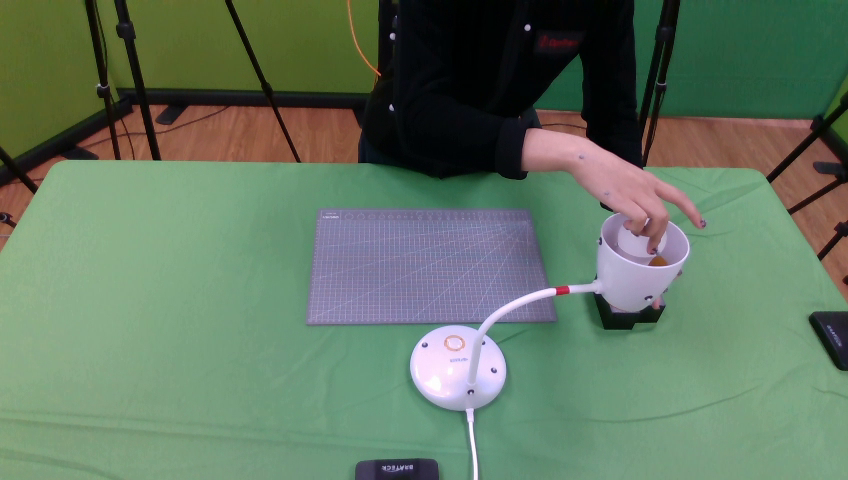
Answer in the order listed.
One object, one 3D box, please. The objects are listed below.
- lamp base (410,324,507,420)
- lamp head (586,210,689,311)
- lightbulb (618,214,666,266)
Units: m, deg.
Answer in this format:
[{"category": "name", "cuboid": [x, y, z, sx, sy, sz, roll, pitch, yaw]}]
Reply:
[{"category": "lamp base", "cuboid": [0.064, 0.164, 0.937, 0.161, 0.181, 0.178, -10, 51, -13]}, {"category": "lamp head", "cuboid": [0.280, 0.039, 0.819, 0.112, 0.123, 0.111, 5, 41, -4]}, {"category": "lightbulb", "cuboid": [0.286, 0.015, 0.808, 0.059, 0.108, 0.059, 0, 37, 0]}]
